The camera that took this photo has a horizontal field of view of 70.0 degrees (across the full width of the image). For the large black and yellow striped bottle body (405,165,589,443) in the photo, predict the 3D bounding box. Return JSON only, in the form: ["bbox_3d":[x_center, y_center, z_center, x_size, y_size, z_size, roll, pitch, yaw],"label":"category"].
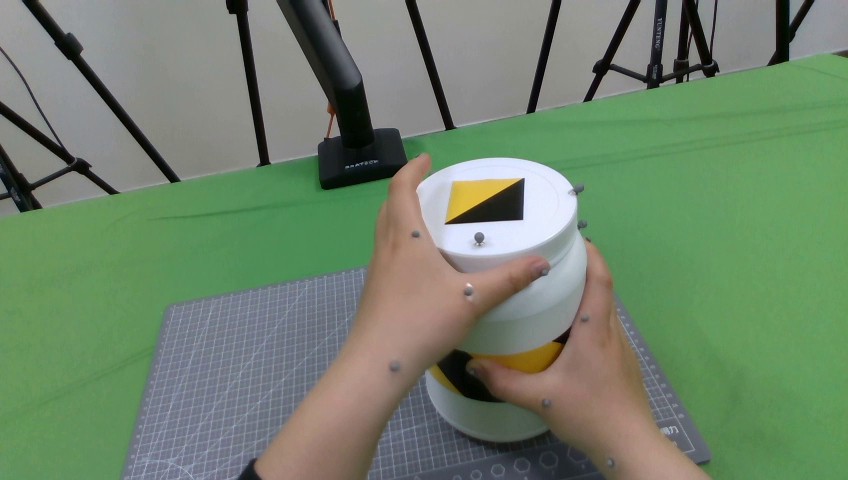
[{"bbox_3d":[0.056,0.049,0.458,0.131,0.186,0.129,-6,38,5],"label":"large black and yellow striped bottle body"}]

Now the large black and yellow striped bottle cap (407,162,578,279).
[{"bbox_3d":[0.045,-0.017,0.406,0.115,0.019,0.114,-6,36,5],"label":"large black and yellow striped bottle cap"}]
